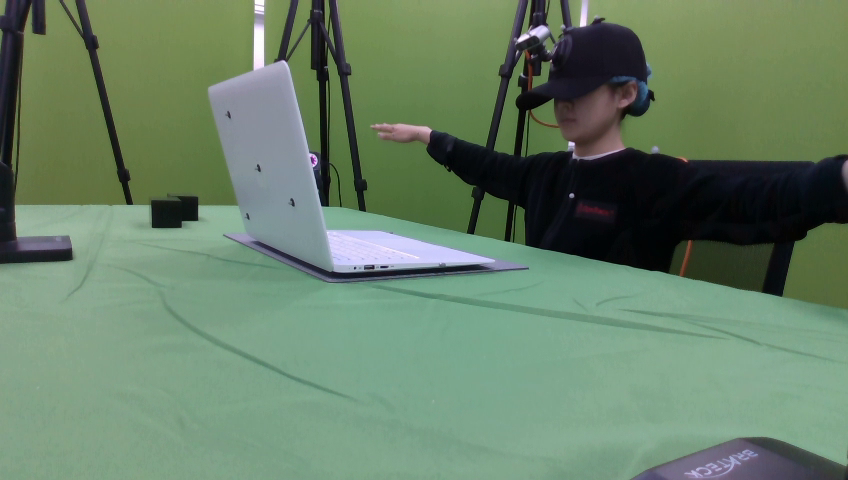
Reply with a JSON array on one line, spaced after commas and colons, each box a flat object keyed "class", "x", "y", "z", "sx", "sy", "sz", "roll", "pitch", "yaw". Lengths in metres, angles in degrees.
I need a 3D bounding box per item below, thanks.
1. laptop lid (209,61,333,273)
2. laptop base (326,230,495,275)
[{"class": "laptop lid", "x": -0.213, "y": -0.095, "z": 0.790, "sx": 0.013, "sy": 0.241, "sz": 0.355, "roll": -18, "pitch": 18, "yaw": -29}, {"class": "laptop base", "x": -0.093, "y": 0.015, "z": 0.884, "sx": 0.237, "sy": 0.023, "sz": 0.352, "roll": 3, "pitch": 6, "yaw": -32}]
